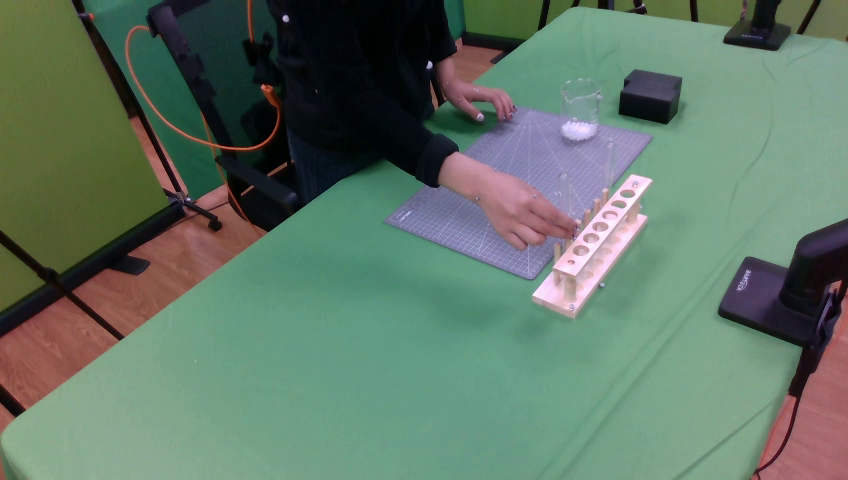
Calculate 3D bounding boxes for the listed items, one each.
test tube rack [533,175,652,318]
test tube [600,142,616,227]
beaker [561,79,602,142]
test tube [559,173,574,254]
[{"bbox_3d":[0.251,-0.001,0.888,0.066,0.085,0.243,22,49,32],"label":"test tube rack"},{"bbox_3d":[0.275,-0.081,0.908,0.017,0.151,0.017,-5,40,5],"label":"test tube"},{"bbox_3d":[0.295,-0.243,1.150,0.073,0.101,0.084,22,50,32],"label":"beaker"},{"bbox_3d":[0.197,-0.031,0.828,0.017,0.151,0.017,-8,43,8],"label":"test tube"}]
